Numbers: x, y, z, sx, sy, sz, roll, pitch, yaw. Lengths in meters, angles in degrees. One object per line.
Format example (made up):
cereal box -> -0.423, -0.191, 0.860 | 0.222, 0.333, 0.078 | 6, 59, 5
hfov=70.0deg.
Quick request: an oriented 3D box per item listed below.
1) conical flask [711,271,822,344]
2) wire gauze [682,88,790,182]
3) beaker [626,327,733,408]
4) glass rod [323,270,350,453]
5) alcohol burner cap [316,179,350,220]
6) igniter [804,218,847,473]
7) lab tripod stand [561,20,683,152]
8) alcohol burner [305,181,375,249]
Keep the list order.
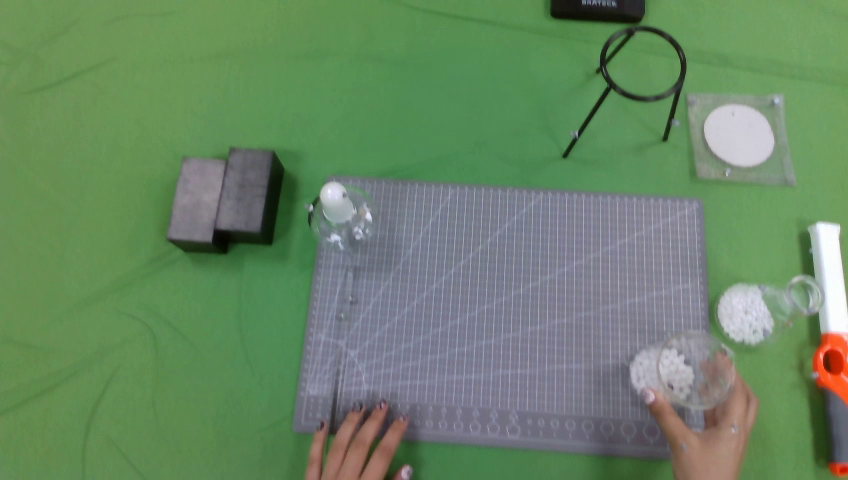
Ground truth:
conical flask -> 0.358, 0.064, 0.628 | 0.075, 0.122, 0.075 | 0, 73, 1
wire gauze -> 0.383, -0.132, 0.742 | 0.125, 0.011, 0.121 | 3, 75, -1
beaker -> 0.256, 0.131, 0.618 | 0.084, 0.101, 0.073 | -19, 75, -5
glass rod -> -0.095, 0.130, 0.666 | 0.008, 0.008, 0.199 | 5, 77, 1
alcohol burner cap -> -0.095, -0.045, 0.624 | 0.034, 0.048, 0.033 | 1, 67, -1
igniter -> 0.448, 0.109, 0.664 | 0.057, 0.025, 0.275 | 7, 74, -9
lab tripod stand -> 0.223, -0.169, 0.688 | 0.148, 0.132, 0.147 | 0, 76, 0
alcohol burner -> -0.094, -0.033, 0.658 | 0.078, 0.120, 0.077 | -1, 74, 2
